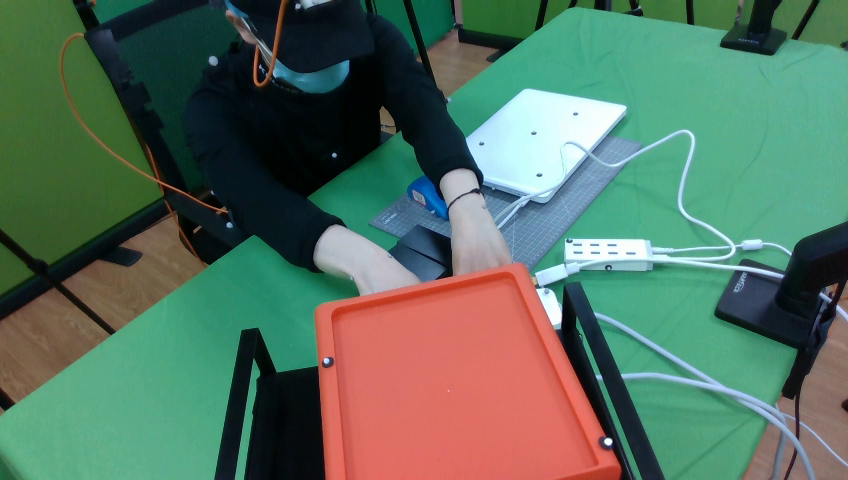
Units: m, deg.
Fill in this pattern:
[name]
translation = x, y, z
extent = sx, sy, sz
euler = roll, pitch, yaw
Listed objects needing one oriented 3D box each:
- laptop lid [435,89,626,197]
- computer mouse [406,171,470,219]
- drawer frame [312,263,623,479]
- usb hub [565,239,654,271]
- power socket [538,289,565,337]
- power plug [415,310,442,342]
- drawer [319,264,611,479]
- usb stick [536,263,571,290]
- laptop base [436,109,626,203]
[laptop lid]
translation = 0.211, -0.202, 1.165
extent = 0.240, 0.013, 0.358
euler = 21, 47, 32
[computer mouse]
translation = 0.024, -0.082, 1.050
extent = 0.063, 0.041, 0.116
euler = -30, 49, -27
[drawer frame]
translation = 0.021, 0.130, 0.494
extent = 0.202, 0.083, 0.212
euler = -11, 41, -6
[usb hub]
translation = 0.275, 0.022, 0.906
extent = 0.125, 0.025, 0.049
euler = 1, 41, 9
[power socket]
translation = 0.081, 0.111, 0.822
extent = 0.227, 0.033, 0.072
euler = -7, 41, -1
[power plug]
translation = 0.002, 0.121, 0.783
extent = 0.035, 0.053, 0.072
euler = 5, 35, 11
[drawer]
translation = 0.020, 0.129, 0.497
extent = 0.195, 0.073, 0.210
euler = -11, 41, -5
[usb stick]
translation = 0.182, 0.057, 0.875
extent = 0.059, 0.021, 0.027
euler = -31, 0, -6
[laptop base]
translation = 0.214, -0.193, 1.172
extent = 0.233, 0.023, 0.355
euler = 19, 46, 32
